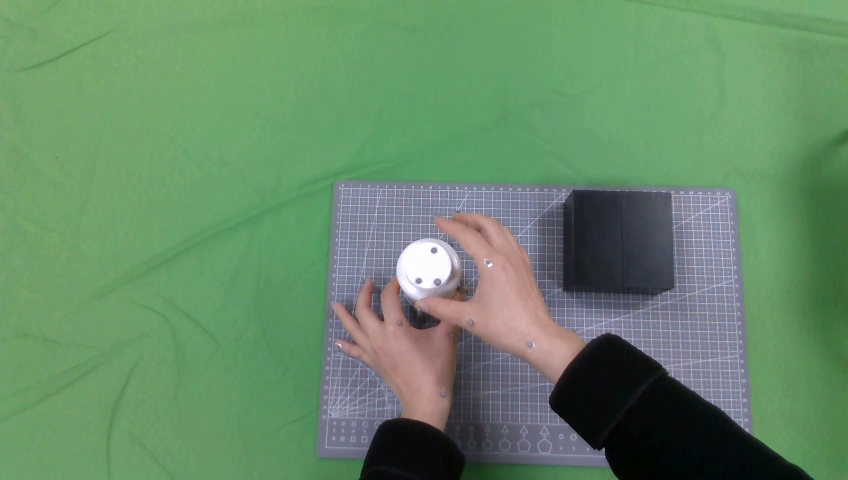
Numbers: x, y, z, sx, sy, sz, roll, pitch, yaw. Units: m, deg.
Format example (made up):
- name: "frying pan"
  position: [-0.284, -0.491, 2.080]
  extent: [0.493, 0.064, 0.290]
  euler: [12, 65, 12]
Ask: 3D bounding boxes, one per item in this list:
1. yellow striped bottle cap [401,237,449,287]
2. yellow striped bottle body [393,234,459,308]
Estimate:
- name: "yellow striped bottle cap"
  position: [0.001, 0.020, 0.552]
  extent: [0.044, 0.019, 0.044]
  euler: [0, 81, 1]
- name: "yellow striped bottle body"
  position: [0.003, 0.031, 0.603]
  extent: [0.063, 0.121, 0.062]
  euler: [0, 78, 2]
